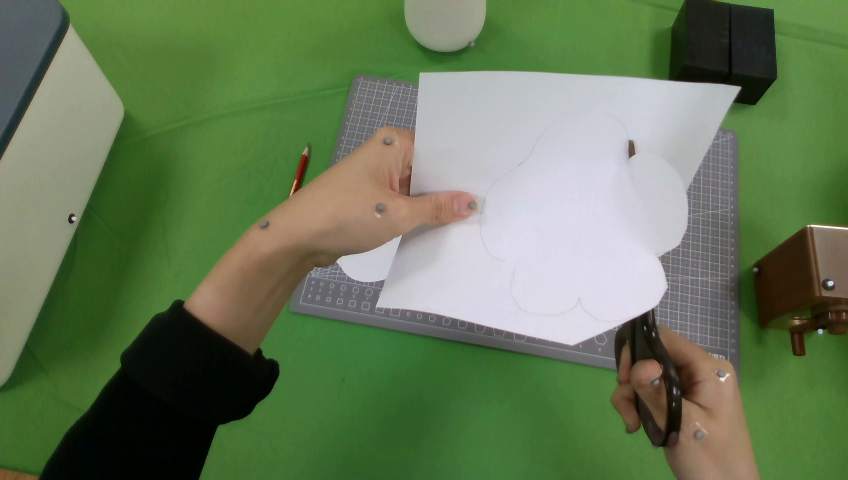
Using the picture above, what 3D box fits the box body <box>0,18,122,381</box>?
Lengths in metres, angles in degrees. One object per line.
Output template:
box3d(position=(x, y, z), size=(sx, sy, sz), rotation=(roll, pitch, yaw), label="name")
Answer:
box3d(position=(-0.488, -0.056, 0.581), size=(0.254, 0.161, 0.361), rotation=(9, 69, 4), label="box body")

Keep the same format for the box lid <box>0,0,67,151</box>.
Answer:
box3d(position=(-0.489, -0.086, 0.512), size=(0.263, 0.015, 0.369), rotation=(10, 68, 3), label="box lid")

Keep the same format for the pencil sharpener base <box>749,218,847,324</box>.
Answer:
box3d(position=(0.365, 0.035, 0.575), size=(0.061, 0.108, 0.076), rotation=(5, 68, 2), label="pencil sharpener base")

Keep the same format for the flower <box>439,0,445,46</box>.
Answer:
box3d(position=(0.015, -0.352, 0.590), size=(0.044, 0.365, 0.038), rotation=(3, 50, 5), label="flower")

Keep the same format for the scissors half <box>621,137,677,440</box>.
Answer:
box3d(position=(0.125, 0.028, 0.344), size=(0.013, 0.040, 0.175), rotation=(-8, 90, -4), label="scissors half")

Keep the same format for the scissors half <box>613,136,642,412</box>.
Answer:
box3d(position=(0.124, 0.025, 0.365), size=(0.013, 0.040, 0.176), rotation=(-7, 111, 1), label="scissors half")

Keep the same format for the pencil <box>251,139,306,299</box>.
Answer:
box3d(position=(-0.153, -0.028, 0.653), size=(0.012, 0.012, 0.193), rotation=(10, 67, 5), label="pencil")

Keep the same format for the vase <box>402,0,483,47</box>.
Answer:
box3d(position=(0.020, -0.308, 0.661), size=(0.098, 0.201, 0.097), rotation=(0, 67, 1), label="vase")

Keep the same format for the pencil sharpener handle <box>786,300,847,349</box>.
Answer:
box3d(position=(0.356, 0.077, 0.545), size=(0.036, 0.068, 0.030), rotation=(11, 68, -11), label="pencil sharpener handle")
